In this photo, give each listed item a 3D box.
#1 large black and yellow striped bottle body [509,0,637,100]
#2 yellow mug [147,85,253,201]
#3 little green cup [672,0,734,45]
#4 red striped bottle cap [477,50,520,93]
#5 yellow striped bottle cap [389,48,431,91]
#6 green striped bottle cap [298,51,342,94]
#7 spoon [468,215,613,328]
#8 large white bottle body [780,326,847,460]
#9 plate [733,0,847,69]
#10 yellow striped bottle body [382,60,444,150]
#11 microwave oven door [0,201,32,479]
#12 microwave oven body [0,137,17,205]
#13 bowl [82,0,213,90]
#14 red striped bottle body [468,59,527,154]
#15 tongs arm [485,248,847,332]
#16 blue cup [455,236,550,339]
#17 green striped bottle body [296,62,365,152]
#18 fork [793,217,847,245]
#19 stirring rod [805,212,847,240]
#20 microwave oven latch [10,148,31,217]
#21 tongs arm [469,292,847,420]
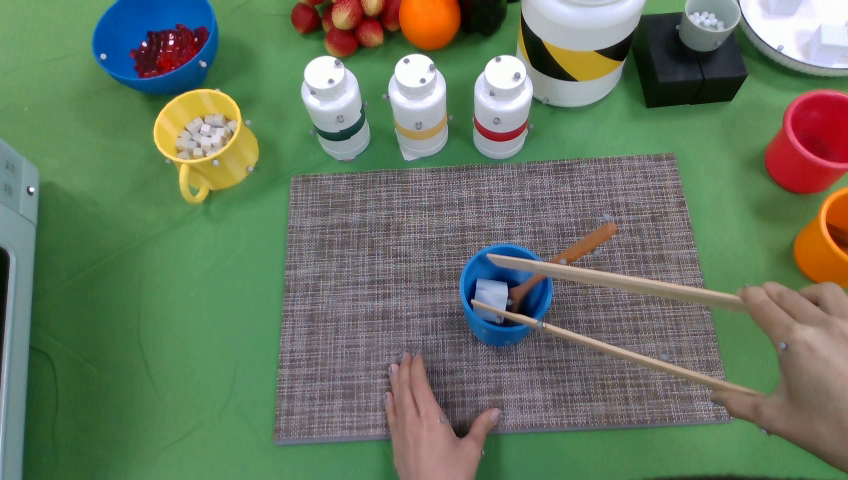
[{"bbox_3d":[0.166,-0.260,0.678,0.131,0.185,0.130,-1,67,3],"label":"large black and yellow striped bottle body"},{"bbox_3d":[-0.261,-0.107,0.702,0.100,0.064,0.130,6,68,5],"label":"yellow mug"},{"bbox_3d":[0.316,-0.256,0.693,0.061,0.039,0.061,-1,66,2],"label":"little green cup"},{"bbox_3d":[0.077,-0.175,0.625,0.044,0.018,0.044,0,66,-1],"label":"red striped bottle cap"},{"bbox_3d":[-0.015,-0.178,0.632,0.044,0.019,0.044,-1,69,2],"label":"yellow striped bottle cap"},{"bbox_3d":[-0.110,-0.176,0.636,0.044,0.020,0.044,-1,66,2],"label":"green striped bottle cap"},{"bbox_3d":[0.100,0.033,0.555,0.022,0.194,0.041,2,59,-33],"label":"spoon"},{"bbox_3d":[0.406,0.114,0.507,0.130,0.186,0.129,-1,66,3],"label":"large white bottle body"},{"bbox_3d":[0.482,-0.294,0.754,0.209,0.038,0.207,-1,68,3],"label":"plate"},{"bbox_3d":[-0.011,-0.158,0.680,0.063,0.121,0.062,-2,67,4],"label":"yellow striped bottle body"},{"bbox_3d":[-0.432,0.093,0.513,0.039,0.245,0.353,-13,67,-1],"label":"microwave oven door"},{"bbox_3d":[-0.584,0.088,0.529,0.326,0.262,0.438,-12,68,-3],"label":"microwave oven body"},{"bbox_3d":[-0.328,-0.241,0.755,0.151,0.077,0.150,-1,67,2],"label":"bowl"},{"bbox_3d":[0.082,-0.153,0.673,0.063,0.120,0.062,-3,65,7],"label":"red striped bottle body"},{"bbox_3d":[0.207,0.048,0.431,0.384,0.028,0.028,13,71,37],"label":"tongs arm"},{"bbox_3d":[0.074,0.055,0.593,0.092,0.101,0.092,-1,67,3],"label":"blue cup"},{"bbox_3d":[-0.106,-0.156,0.684,0.063,0.120,0.062,-1,67,3],"label":"green striped bottle body"},{"bbox_3d":[0.454,0.006,0.570,0.028,0.019,0.205,-37,26,-17],"label":"fork"},{"bbox_3d":[0.426,0.006,0.577,0.014,0.006,0.174,-10,24,-2],"label":"stirring rod"},{"bbox_3d":[-0.470,-0.063,0.691,0.030,0.030,0.078,-12,68,-2],"label":"microwave oven latch"},{"bbox_3d":[0.197,0.073,0.426,0.381,0.027,0.050,17,77,38],"label":"tongs arm"}]
